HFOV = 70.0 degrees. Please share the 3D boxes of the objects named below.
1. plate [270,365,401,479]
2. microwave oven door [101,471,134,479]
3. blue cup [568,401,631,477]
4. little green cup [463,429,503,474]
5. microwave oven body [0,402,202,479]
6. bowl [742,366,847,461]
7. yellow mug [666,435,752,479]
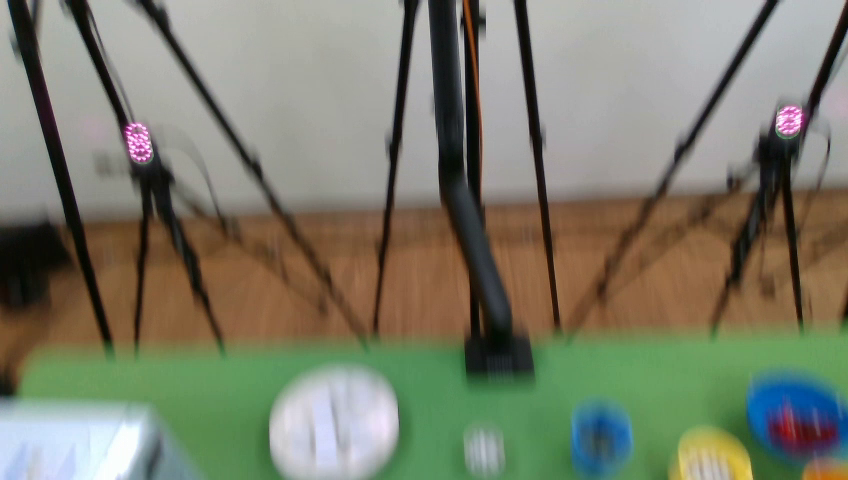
[{"bbox_3d":[-0.140,0.296,0.975,0.207,0.039,0.205,-2,43,2],"label":"plate"},{"bbox_3d":[-0.353,0.464,0.636,0.039,0.246,0.352,0,44,4],"label":"microwave oven door"},{"bbox_3d":[0.253,0.302,0.898,0.092,0.101,0.091,-1,45,2],"label":"blue cup"},{"bbox_3d":[0.091,0.327,0.928,0.061,0.039,0.061,-2,43,2],"label":"little green cup"},{"bbox_3d":[-0.496,0.438,0.680,0.326,0.262,0.437,1,44,4],"label":"microwave oven body"},{"bbox_3d":[0.556,0.276,0.922,0.151,0.077,0.150,-2,44,2],"label":"bowl"},{"bbox_3d":[0.397,0.349,0.864,0.131,0.064,0.099,-34,51,-26],"label":"yellow mug"}]
